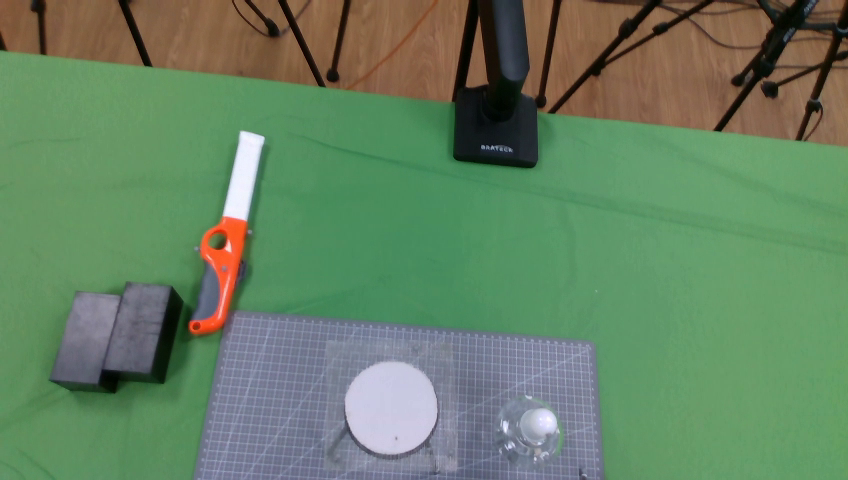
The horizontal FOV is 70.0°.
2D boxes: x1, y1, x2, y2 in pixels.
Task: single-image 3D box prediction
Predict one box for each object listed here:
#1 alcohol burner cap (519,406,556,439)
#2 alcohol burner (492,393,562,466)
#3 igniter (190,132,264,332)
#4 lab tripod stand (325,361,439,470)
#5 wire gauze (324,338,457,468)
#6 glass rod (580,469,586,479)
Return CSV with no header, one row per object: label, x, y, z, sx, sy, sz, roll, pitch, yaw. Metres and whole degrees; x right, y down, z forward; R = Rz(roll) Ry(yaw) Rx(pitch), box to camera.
alcohol burner cap,0.118,0.184,0.617,0.034,0.048,0.033,2,69,-6
alcohol burner,0.114,0.200,0.650,0.078,0.120,0.077,2,63,-4
igniter,-0.241,-0.016,0.758,0.057,0.025,0.274,13,64,-17
lab tripod stand,-0.037,0.182,0.629,0.148,0.132,0.147,2,64,-4
wire gauze,-0.032,0.151,0.569,0.125,0.011,0.120,2,64,-6
glass rod,0.175,0.349,0.646,0.008,0.008,0.198,5,64,-4
